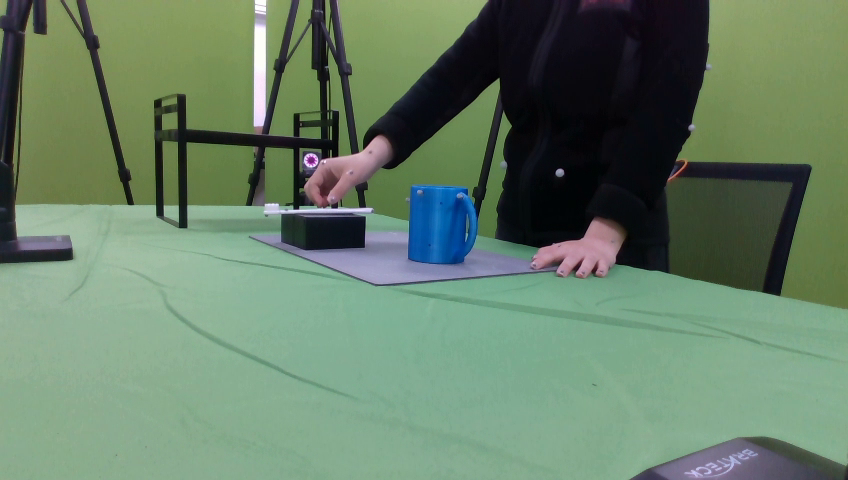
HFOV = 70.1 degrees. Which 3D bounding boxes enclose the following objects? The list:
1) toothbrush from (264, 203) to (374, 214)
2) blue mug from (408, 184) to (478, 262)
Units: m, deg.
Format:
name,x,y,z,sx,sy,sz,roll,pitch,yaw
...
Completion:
name,x,y,z,sx,sy,sz,roll,pitch,yaw
toothbrush,-0.160,-0.048,0.943,0.183,0.016,0.014,-1,-14,-32
blue mug,0.031,-0.024,0.843,0.083,0.106,0.116,-5,10,-43
